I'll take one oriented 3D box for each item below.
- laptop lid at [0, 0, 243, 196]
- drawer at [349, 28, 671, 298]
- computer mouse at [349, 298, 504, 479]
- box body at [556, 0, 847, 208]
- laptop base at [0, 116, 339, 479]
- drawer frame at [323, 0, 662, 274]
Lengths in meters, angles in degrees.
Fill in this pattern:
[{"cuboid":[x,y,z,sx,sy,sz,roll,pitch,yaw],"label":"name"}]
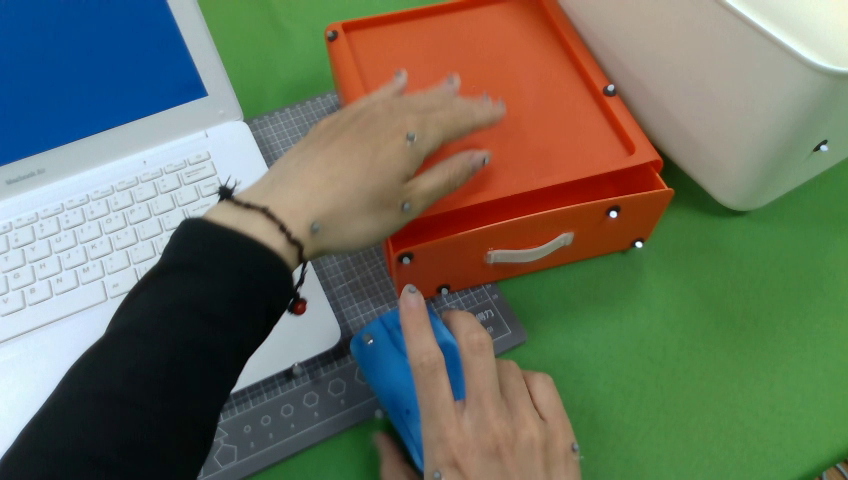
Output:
[{"cuboid":[-0.342,-0.138,0.437,0.357,0.244,0.013,-24,30,-12],"label":"laptop lid"},{"cuboid":[0.047,-0.076,0.470,0.195,0.074,0.209,-13,57,-8],"label":"drawer"},{"cuboid":[-0.001,0.090,0.390,0.063,0.041,0.116,-27,59,-10],"label":"computer mouse"},{"cuboid":[0.251,-0.228,0.515,0.254,0.162,0.360,-27,61,-15],"label":"box body"},{"cuboid":[-0.264,0.048,0.438,0.355,0.023,0.233,-23,63,-13],"label":"laptop base"},{"cuboid":[0.041,-0.096,0.482,0.202,0.083,0.211,-15,57,-8],"label":"drawer frame"}]
